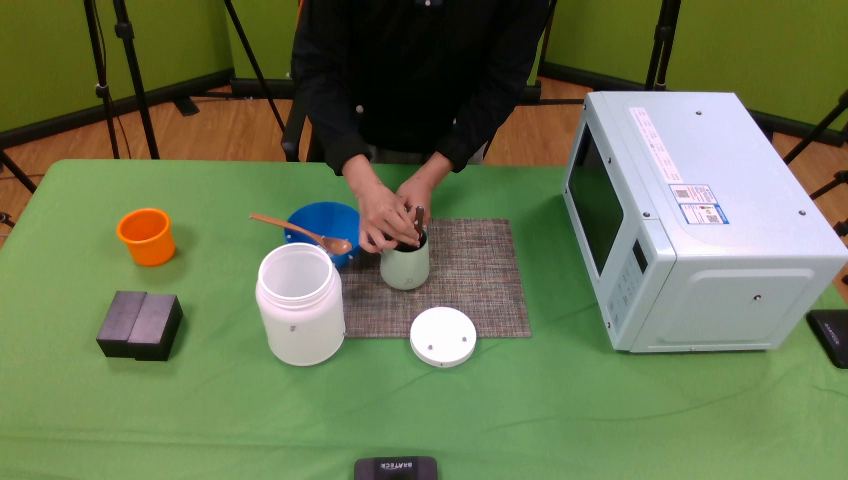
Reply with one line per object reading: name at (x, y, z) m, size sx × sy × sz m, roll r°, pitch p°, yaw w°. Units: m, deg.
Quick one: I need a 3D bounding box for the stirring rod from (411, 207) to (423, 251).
stirring rod at (-0.015, 0.007, 1.068) m, size 0.014 × 0.177 × 0.006 m, roll 15°, pitch 46°, yaw 8°

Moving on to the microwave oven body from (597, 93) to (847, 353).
microwave oven body at (0.475, -0.041, 1.109) m, size 0.326 × 0.261 × 0.438 m, roll -1°, pitch 45°, yaw -4°

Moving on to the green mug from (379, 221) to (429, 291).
green mug at (-0.044, 0.020, 1.116) m, size 0.092 × 0.105 × 0.124 m, roll -20°, pitch 51°, yaw -22°

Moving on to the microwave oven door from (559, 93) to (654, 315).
microwave oven door at (0.327, -0.074, 1.123) m, size 0.039 × 0.245 × 0.353 m, roll -1°, pitch 46°, yaw -5°

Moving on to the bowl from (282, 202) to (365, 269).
bowl at (-0.186, 0.006, 1.136) m, size 0.151 × 0.077 × 0.150 m, roll 3°, pitch 46°, yaw -3°

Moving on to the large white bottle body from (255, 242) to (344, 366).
large white bottle body at (-0.196, 0.102, 0.967) m, size 0.131 × 0.185 × 0.130 m, roll 2°, pitch 49°, yaw -2°

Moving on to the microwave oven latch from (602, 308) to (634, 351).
microwave oven latch at (0.332, 0.153, 1.044) m, size 0.030 × 0.029 × 0.078 m, roll -1°, pitch 45°, yaw -4°

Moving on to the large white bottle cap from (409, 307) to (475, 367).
large white bottle cap at (0.031, 0.165, 1.041) m, size 0.115 × 0.018 × 0.114 m, roll 2°, pitch 47°, yaw -2°

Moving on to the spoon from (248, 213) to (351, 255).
spoon at (-0.228, -0.014, 1.113) m, size 0.194 × 0.022 × 0.041 m, roll 23°, pitch 40°, yaw -15°
